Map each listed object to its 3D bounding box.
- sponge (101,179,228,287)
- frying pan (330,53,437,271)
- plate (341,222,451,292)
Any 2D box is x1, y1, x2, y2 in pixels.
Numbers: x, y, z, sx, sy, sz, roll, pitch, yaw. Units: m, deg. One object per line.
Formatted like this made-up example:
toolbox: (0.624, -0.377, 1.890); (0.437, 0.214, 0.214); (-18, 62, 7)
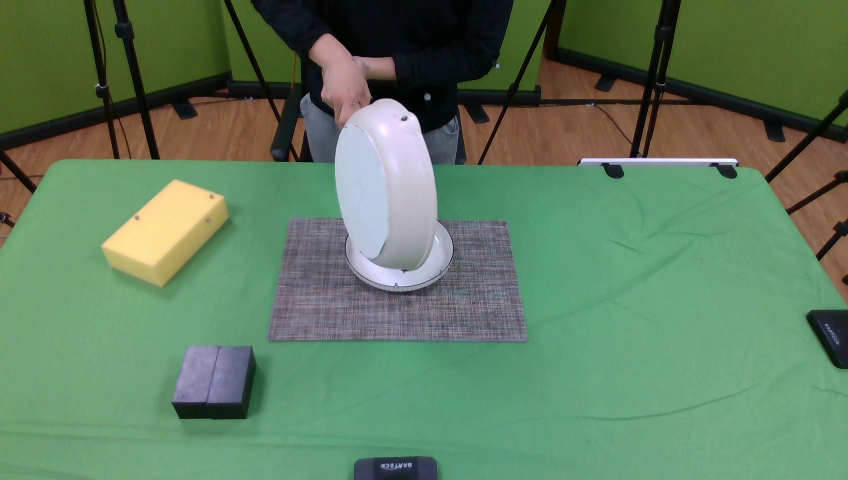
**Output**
sponge: (-0.486, -0.019, 1.151); (0.118, 0.061, 0.206); (19, 47, 12)
frying pan: (-0.106, -0.166, 1.065); (0.103, 0.308, 0.484); (-4, 53, -22)
plate: (-0.053, 0.022, 1.156); (0.208, 0.039, 0.206); (2, 46, -2)
